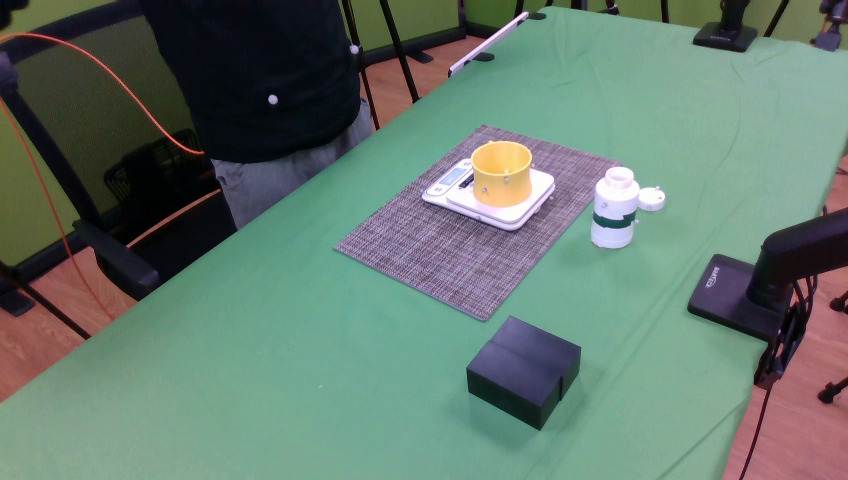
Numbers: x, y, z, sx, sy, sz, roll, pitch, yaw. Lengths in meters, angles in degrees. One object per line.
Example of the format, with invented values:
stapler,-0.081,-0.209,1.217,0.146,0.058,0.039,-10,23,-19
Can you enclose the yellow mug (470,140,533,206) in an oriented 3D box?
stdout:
yellow mug,0.125,-0.121,1.004,0.100,0.064,0.130,-13,41,-5

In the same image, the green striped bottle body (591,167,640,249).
green striped bottle body,0.288,-0.050,0.910,0.063,0.120,0.063,-4,41,4

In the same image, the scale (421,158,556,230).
scale,0.110,-0.089,1.042,0.199,0.032,0.149,23,48,31

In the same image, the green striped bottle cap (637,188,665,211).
green striped bottle cap,0.374,-0.067,0.998,0.044,0.020,0.044,-7,39,6
